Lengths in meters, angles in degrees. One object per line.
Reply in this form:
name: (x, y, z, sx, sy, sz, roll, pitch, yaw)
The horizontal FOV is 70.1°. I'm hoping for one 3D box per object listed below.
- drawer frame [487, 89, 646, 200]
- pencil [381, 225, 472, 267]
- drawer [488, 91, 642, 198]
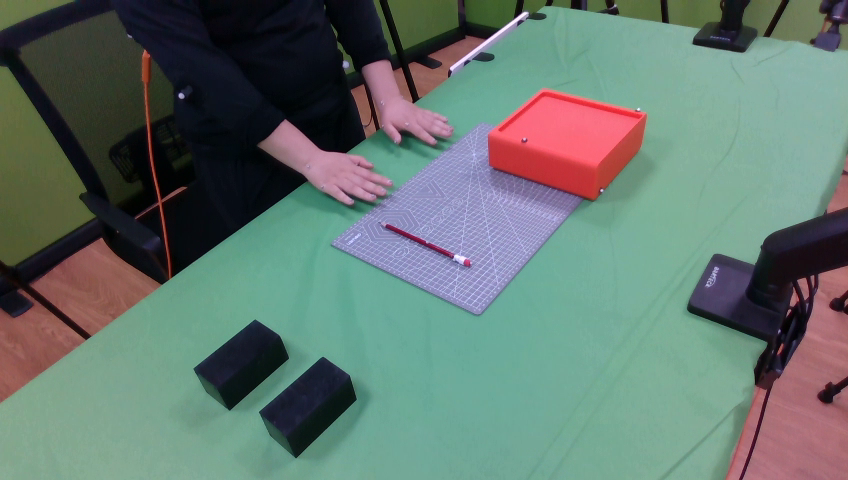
drawer frame: (0.257, -0.180, 1.094, 0.212, 0.083, 0.202, 23, 48, 30)
pencil: (-0.002, 0.005, 0.970, 0.192, 0.012, 0.012, 23, 49, 34)
drawer: (0.254, -0.179, 1.095, 0.210, 0.073, 0.195, 24, 48, 30)
